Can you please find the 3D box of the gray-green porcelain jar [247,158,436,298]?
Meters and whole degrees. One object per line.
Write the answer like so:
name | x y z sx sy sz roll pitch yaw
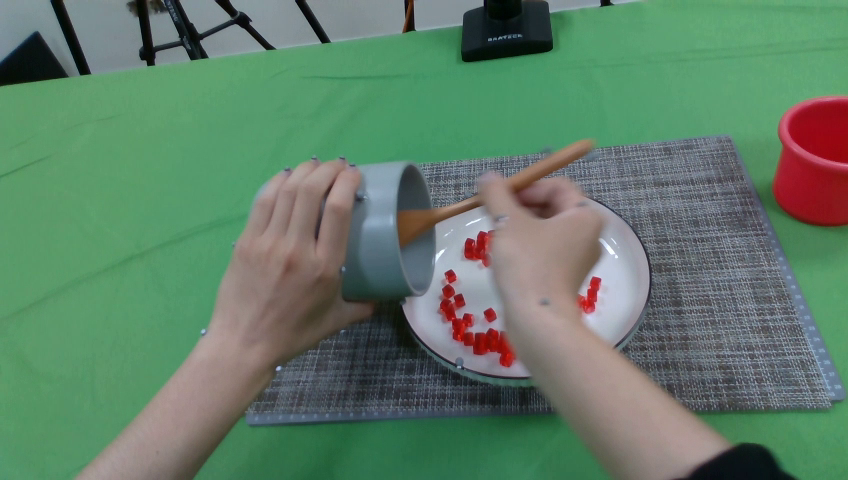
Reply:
gray-green porcelain jar | -0.064 -0.007 0.478 0.126 0.107 0.105 -3 47 16

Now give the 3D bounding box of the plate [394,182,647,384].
plate | 0.079 0.034 0.516 0.207 0.039 0.205 -7 47 8

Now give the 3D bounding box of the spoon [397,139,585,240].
spoon | 0.025 -0.029 0.440 0.193 0.022 0.041 -21 47 22

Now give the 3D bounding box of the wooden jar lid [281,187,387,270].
wooden jar lid | -0.090 -0.011 0.611 0.108 0.021 0.107 -6 46 7
